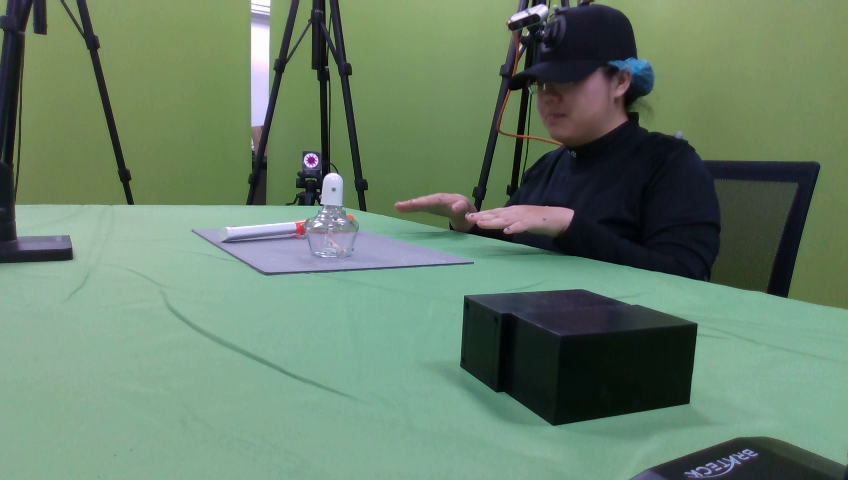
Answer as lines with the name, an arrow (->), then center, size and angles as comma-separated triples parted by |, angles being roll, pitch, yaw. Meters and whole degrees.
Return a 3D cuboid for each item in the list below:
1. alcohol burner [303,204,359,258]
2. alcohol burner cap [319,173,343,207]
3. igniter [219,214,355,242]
alcohol burner -> -0.130, -0.035, 0.850 | 0.078, 0.119, 0.078 | 2, 5, 0
alcohol burner cap -> -0.129, -0.070, 0.845 | 0.034, 0.048, 0.034 | 4, 4, 0
igniter -> -0.219, -0.021, 1.033 | 0.057, 0.025, 0.278 | -20, -7, 39
